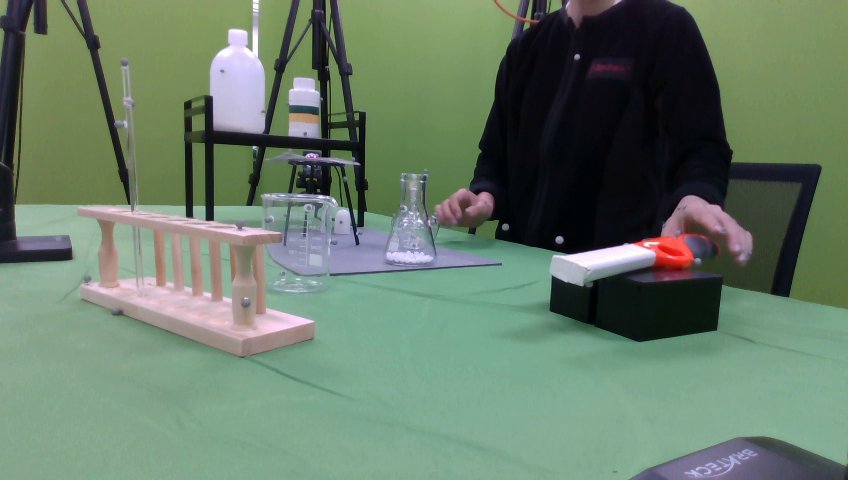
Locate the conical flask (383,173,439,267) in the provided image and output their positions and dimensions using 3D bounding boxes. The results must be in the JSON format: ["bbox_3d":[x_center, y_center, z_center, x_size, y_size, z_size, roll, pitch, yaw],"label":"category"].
[{"bbox_3d":[-0.016,-0.028,0.808,0.075,0.122,0.075,2,8,0],"label":"conical flask"}]

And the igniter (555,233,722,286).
[{"bbox_3d":[0.214,0.015,0.570,0.278,0.025,0.057,-6,22,-45],"label":"igniter"}]

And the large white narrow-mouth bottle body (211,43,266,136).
[{"bbox_3d":[-0.361,-0.302,1.176,0.102,0.194,0.102,1,7,0],"label":"large white narrow-mouth bottle body"}]

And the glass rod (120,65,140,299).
[{"bbox_3d":[-0.249,-0.047,0.513,0.008,0.199,0.008,-1,4,0],"label":"glass rod"}]

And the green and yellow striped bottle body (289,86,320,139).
[{"bbox_3d":[-0.250,-0.272,1.261,0.063,0.119,0.063,3,7,0],"label":"green and yellow striped bottle body"}]

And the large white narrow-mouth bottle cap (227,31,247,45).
[{"bbox_3d":[-0.361,-0.388,1.165,0.038,0.024,0.037,1,7,0],"label":"large white narrow-mouth bottle cap"}]

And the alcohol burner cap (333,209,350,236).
[{"bbox_3d":[-0.151,-0.033,1.116,0.034,0.048,0.034,4,7,0],"label":"alcohol burner cap"}]

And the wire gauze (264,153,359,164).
[{"bbox_3d":[-0.181,-0.129,0.969,0.126,0.011,0.121,-1,6,-27],"label":"wire gauze"}]

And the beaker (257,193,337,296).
[{"bbox_3d":[-0.130,0.003,0.628,0.084,0.100,0.074,5,8,15],"label":"beaker"}]

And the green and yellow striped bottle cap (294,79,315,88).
[{"bbox_3d":[-0.248,-0.323,1.256,0.045,0.020,0.045,3,9,0],"label":"green and yellow striped bottle cap"}]

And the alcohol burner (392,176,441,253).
[{"bbox_3d":[-0.012,-0.041,0.944,0.078,0.119,0.078,0,7,0],"label":"alcohol burner"}]

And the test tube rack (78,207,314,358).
[{"bbox_3d":[-0.196,0.024,0.500,0.241,0.085,0.067,8,8,37],"label":"test tube rack"}]

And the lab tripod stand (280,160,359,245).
[{"bbox_3d":[-0.176,-0.062,0.973,0.148,0.131,0.148,1,7,0],"label":"lab tripod stand"}]
